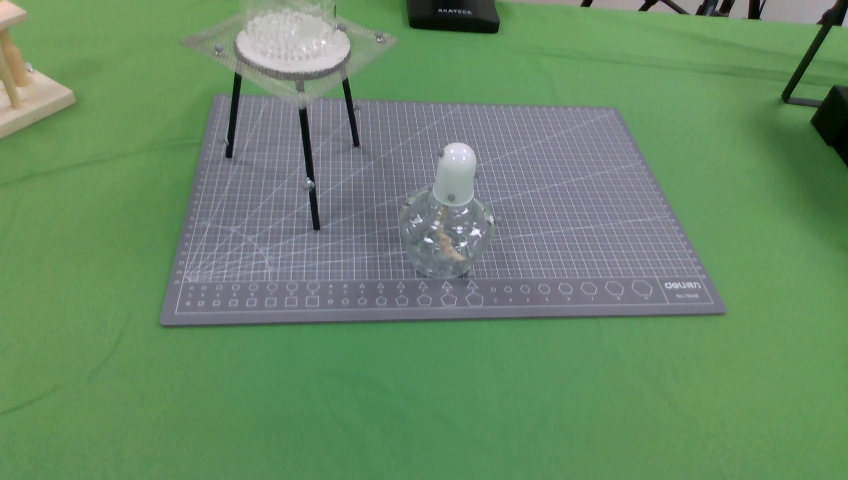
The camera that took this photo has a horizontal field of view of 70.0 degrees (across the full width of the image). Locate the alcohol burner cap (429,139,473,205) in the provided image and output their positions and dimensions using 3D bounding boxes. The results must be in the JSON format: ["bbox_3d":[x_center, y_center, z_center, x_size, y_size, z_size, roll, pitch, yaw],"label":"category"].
[{"bbox_3d":[0.021,-0.052,0.448,0.034,0.048,0.033,3,51,-3],"label":"alcohol burner cap"}]

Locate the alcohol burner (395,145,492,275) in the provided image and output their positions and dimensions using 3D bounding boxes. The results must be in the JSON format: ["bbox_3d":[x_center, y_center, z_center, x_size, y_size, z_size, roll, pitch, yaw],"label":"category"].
[{"bbox_3d":[0.018,-0.028,0.475,0.078,0.120,0.077,6,46,-5],"label":"alcohol burner"}]

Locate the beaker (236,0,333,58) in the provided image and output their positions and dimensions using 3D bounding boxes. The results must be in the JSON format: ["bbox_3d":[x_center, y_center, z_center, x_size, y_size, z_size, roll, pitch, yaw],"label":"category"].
[{"bbox_3d":[-0.104,-0.191,0.438,0.073,0.101,0.084,36,54,23],"label":"beaker"}]

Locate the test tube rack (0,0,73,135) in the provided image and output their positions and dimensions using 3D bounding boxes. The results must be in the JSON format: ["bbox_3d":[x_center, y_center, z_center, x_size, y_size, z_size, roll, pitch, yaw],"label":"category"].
[{"bbox_3d":[-0.439,-0.114,0.511,0.066,0.086,0.241,29,49,18],"label":"test tube rack"}]

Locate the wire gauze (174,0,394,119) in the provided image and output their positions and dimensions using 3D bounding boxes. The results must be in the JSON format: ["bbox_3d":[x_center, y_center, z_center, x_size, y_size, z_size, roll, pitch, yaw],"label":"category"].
[{"bbox_3d":[-0.105,-0.153,0.470,0.124,0.011,0.121,32,53,15],"label":"wire gauze"}]

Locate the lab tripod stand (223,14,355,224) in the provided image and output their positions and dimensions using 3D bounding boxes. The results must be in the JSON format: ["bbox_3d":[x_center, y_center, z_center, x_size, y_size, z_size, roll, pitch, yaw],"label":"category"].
[{"bbox_3d":[-0.110,-0.108,0.517,0.148,0.132,0.147,6,47,-6],"label":"lab tripod stand"}]
